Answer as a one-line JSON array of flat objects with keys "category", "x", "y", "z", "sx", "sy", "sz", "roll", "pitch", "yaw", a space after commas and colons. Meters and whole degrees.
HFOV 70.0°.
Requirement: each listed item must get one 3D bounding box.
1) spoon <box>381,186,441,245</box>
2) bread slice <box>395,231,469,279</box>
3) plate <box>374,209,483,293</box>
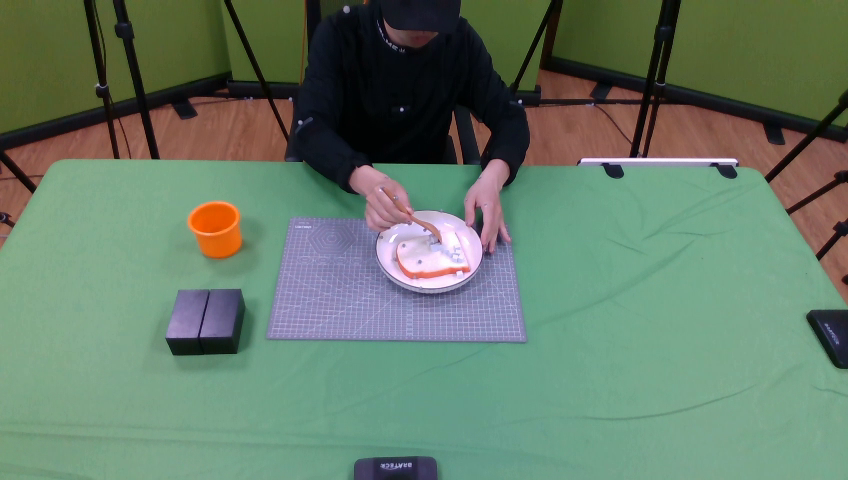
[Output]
[{"category": "spoon", "x": -0.021, "y": -0.042, "z": 1.100, "sx": 0.021, "sy": 0.195, "sz": 0.041, "roll": -42, "pitch": 46, "yaw": 11}, {"category": "bread slice", "x": 0.011, "y": 0.030, "z": 1.158, "sx": 0.132, "sy": 0.019, "sz": 0.104, "roll": -9, "pitch": 47, "yaw": -14}, {"category": "plate", "x": 0.009, "y": 0.024, "z": 1.160, "sx": 0.209, "sy": 0.038, "sz": 0.208, "roll": 2, "pitch": 46, "yaw": -2}]
